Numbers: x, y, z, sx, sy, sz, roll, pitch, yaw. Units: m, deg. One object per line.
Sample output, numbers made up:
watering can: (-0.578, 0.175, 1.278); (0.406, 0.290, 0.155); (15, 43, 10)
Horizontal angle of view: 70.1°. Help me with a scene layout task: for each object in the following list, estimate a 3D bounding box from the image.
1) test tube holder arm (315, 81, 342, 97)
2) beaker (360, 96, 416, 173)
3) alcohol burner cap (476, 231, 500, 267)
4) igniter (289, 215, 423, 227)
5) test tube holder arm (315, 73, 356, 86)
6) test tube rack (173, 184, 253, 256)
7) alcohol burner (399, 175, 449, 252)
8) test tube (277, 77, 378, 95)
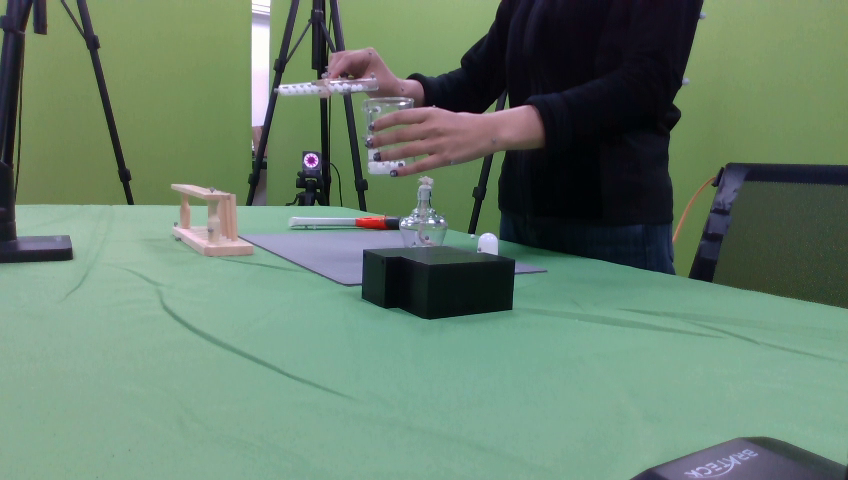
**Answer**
test tube holder arm: (-0.137, -0.221, 0.874); (0.015, 0.010, 0.088); (3, 27, 8)
beaker: (-0.050, -0.143, 0.833); (0.083, 0.100, 0.074); (0, 7, 30)
alcohol burner cap: (0.088, 0.012, 0.830); (0.034, 0.048, 0.034); (2, 7, 0)
igniter: (-0.133, -0.038, 1.231); (0.278, 0.025, 0.057); (-1, -2, -26)
test tube holder arm: (-0.130, -0.243, 0.913); (0.015, 0.013, 0.178); (3, 20, 8)
test tube rack: (-0.329, -0.036, 0.927); (0.067, 0.085, 0.241); (-2, 9, -32)
alcohol burner: (0.000, -0.041, 0.937); (0.078, 0.119, 0.078); (0, 7, 0)
test tube: (-0.137, -0.216, 0.850); (0.150, 0.017, 0.017); (0, 6, 14)
